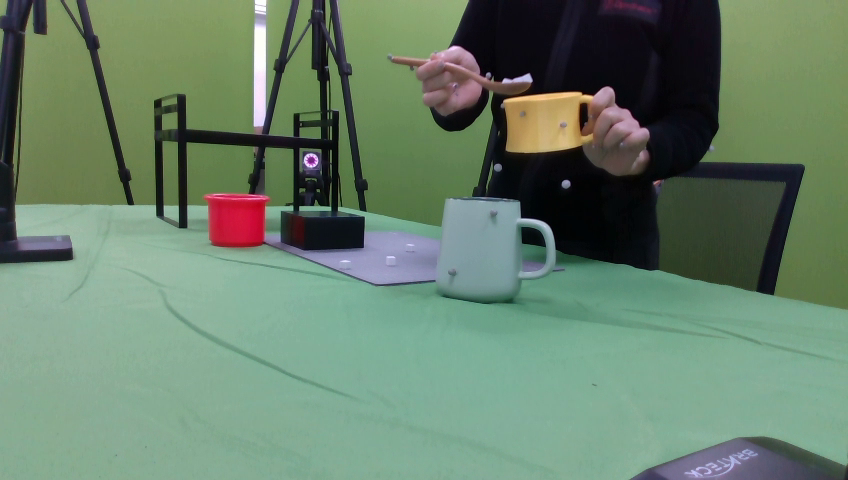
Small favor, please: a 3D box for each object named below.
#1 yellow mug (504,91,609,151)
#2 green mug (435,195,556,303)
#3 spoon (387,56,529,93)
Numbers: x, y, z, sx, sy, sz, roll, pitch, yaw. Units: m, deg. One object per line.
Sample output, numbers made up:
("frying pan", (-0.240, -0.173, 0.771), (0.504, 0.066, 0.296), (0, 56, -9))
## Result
("yellow mug", (0.169, -0.155, 0.774), (0.130, 0.064, 0.100), (0, 16, 20))
("green mug", (0.074, 0.009, 0.624), (0.125, 0.105, 0.093), (6, 7, 23))
("spoon", (0.037, -0.207, 0.744), (0.193, 0.021, 0.042), (23, 17, 24))
